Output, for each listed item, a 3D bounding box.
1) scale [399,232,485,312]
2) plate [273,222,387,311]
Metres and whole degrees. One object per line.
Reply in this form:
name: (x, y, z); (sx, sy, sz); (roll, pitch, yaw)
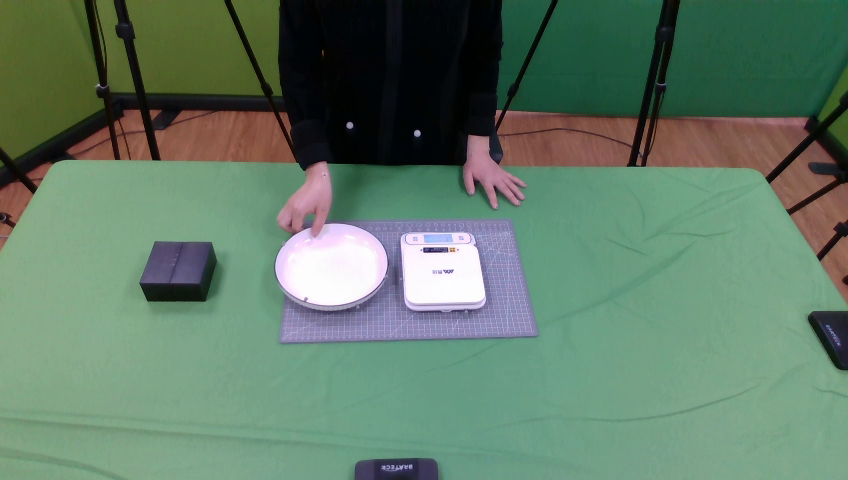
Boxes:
scale: (0.031, 0.050, 1.141); (0.149, 0.032, 0.199); (-1, 46, -5)
plate: (-0.172, 0.051, 1.120); (0.209, 0.038, 0.208); (2, 46, -2)
